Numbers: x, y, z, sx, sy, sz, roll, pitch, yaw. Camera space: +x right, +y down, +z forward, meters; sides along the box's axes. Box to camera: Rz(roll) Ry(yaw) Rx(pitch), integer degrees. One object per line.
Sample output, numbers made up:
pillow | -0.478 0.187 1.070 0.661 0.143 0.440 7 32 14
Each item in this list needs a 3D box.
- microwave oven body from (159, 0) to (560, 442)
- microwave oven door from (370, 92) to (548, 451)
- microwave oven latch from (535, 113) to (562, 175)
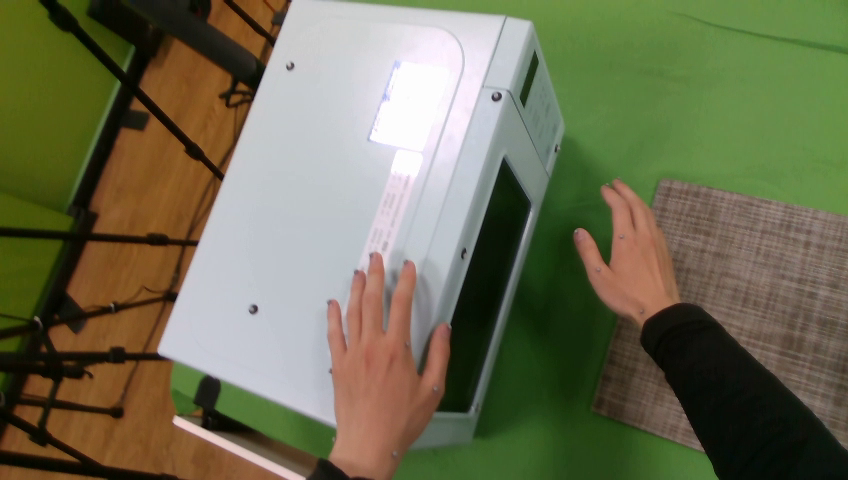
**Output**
microwave oven body | -0.061 -0.019 0.742 0.324 0.262 0.440 14 81 24
microwave oven door | 0.053 0.051 0.673 0.039 0.246 0.355 14 80 25
microwave oven latch | 0.159 -0.127 0.795 0.030 0.030 0.079 15 82 24
